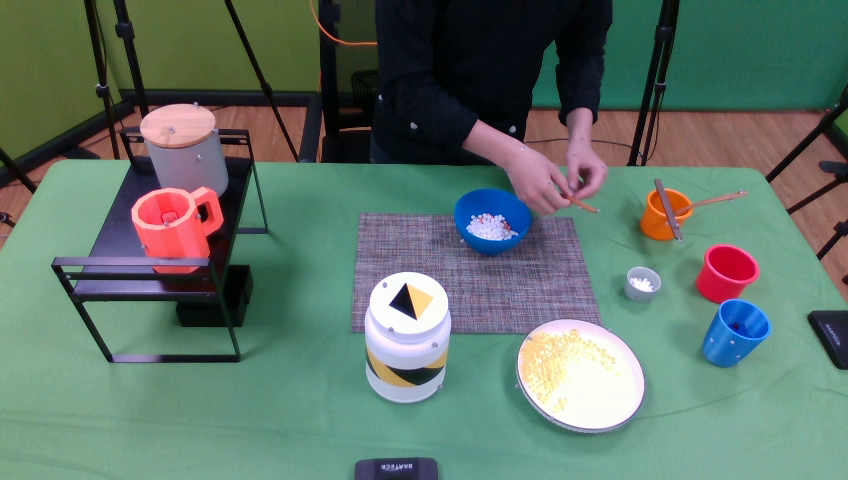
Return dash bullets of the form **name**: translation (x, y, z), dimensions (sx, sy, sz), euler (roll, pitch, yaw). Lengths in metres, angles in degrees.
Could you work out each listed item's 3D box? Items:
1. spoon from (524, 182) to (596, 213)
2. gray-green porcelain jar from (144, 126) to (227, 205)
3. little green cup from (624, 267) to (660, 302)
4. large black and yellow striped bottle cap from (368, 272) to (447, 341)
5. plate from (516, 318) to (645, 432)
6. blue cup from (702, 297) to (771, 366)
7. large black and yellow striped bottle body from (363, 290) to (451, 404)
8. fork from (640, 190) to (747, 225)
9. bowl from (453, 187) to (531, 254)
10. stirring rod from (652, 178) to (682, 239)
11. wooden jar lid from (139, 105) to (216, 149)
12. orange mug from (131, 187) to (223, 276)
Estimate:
- **spoon**: translation (0.243, -0.079, 1.095), dimensions (0.042, 0.021, 0.193), euler (14, 8, -29)
- **gray-green porcelain jar**: translation (-0.375, -0.126, 0.967), dimensions (0.106, 0.127, 0.105), euler (2, 46, -2)
- **little green cup**: translation (0.406, 0.084, 1.135), dimensions (0.061, 0.039, 0.061), euler (3, 46, -3)
- **large black and yellow striped bottle cap**: translation (-0.023, 0.093, 0.875), dimensions (0.115, 0.019, 0.114), euler (3, 46, -3)
- **plate**: translation (0.253, 0.221, 0.993), dimensions (0.209, 0.038, 0.208), euler (2, 46, -2)
- **blue cup**: translation (0.519, 0.162, 1.025), dimensions (0.093, 0.101, 0.092), euler (3, 45, -3)
- **large black and yellow striped bottle body**: translation (-0.027, 0.153, 0.935), dimensions (0.131, 0.185, 0.130), euler (2, 46, -2)
- **fork**: translation (0.533, -0.064, 1.211), dimensions (0.207, 0.019, 0.028), euler (-22, 28, 38)
- **bowl**: translation (0.128, -0.025, 1.187), dimensions (0.151, 0.077, 0.150), euler (2, 46, -2)
- **stirring rod**: translation (0.481, -0.065, 1.204), dimensions (0.014, 0.006, 0.175), euler (2, 46, -1)
- **wooden jar lid**: translation (-0.372, -0.169, 0.920), dimensions (0.108, 0.021, 0.107), euler (4, 44, -4)
- **orange mug**: translation (-0.354, -0.022, 0.888), dimensions (0.083, 0.101, 0.126), euler (31, 55, 24)
